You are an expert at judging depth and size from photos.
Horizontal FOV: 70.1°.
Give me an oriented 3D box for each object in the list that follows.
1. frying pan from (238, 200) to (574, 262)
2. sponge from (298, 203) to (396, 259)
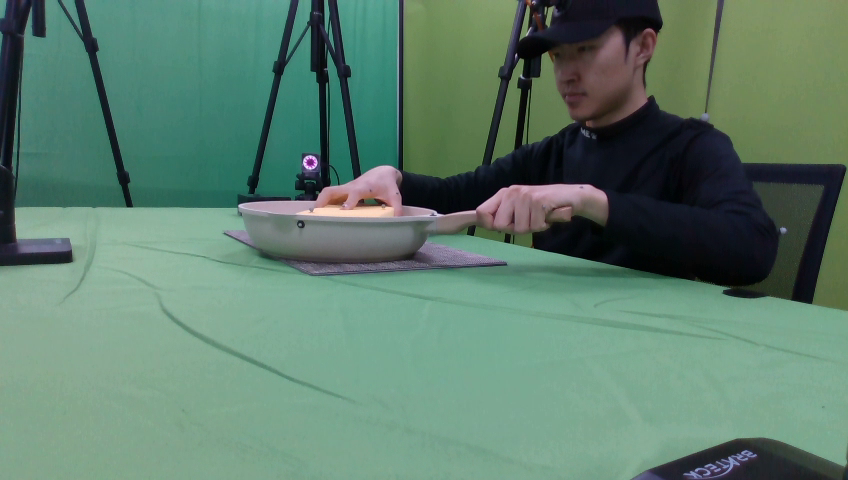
[{"bbox_3d":[-0.033,-0.026,0.867,0.486,0.102,0.308,-4,5,24],"label":"frying pan"},{"bbox_3d":[-0.109,-0.017,0.908,0.118,0.061,0.207,1,7,3],"label":"sponge"}]
